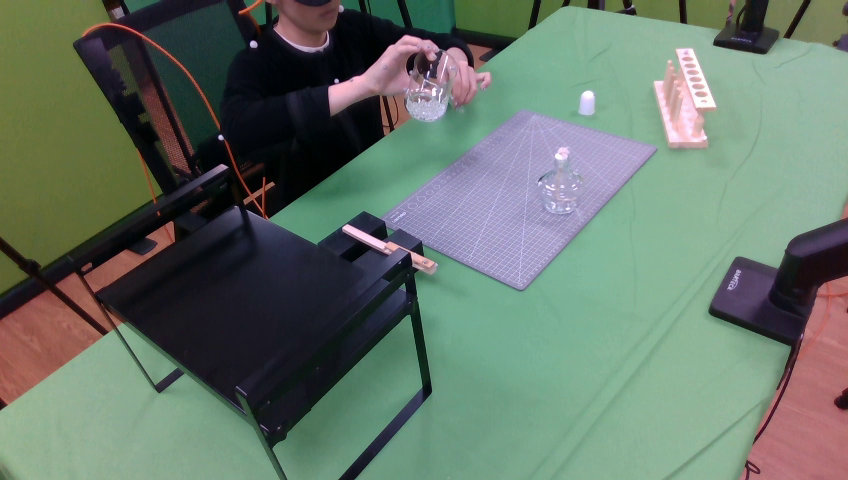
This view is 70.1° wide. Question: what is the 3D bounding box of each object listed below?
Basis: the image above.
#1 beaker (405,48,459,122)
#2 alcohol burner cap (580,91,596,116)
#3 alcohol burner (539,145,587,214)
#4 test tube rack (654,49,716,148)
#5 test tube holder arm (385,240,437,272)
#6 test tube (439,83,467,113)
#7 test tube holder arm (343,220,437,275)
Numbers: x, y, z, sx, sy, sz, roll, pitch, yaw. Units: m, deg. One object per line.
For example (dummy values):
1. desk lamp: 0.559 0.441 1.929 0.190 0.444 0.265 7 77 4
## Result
1. beaker: 0.012 -0.247 0.982 0.073 0.084 0.100 0 54 20
2. alcohol burner cap: 0.338 -0.283 1.238 0.034 0.048 0.033 -5 42 5
3. alcohol burner: 0.226 -0.102 0.986 0.078 0.119 0.077 -6 41 6
4. test tube rack: 0.502 -0.281 1.176 0.066 0.085 0.241 2 41 11
5. test tube holder arm: -0.020 0.022 0.872 0.087 0.010 0.015 26 58 31
6. test tube: 0.055 -0.258 1.107 0.017 0.017 0.151 8 -1 18
7. test tube holder arm: -0.054 0.009 0.899 0.177 0.013 0.015 26 58 30
